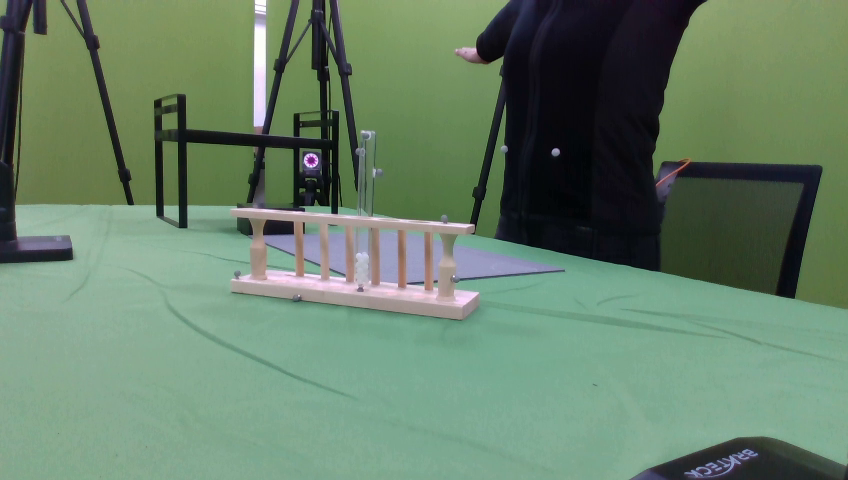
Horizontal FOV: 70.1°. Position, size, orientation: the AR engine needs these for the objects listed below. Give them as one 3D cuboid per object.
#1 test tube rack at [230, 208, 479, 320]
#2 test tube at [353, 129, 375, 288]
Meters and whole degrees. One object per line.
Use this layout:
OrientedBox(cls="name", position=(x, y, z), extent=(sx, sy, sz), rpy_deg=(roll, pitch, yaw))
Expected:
OrientedBox(cls="test tube rack", position=(-0.069, 0.017, 0.598), extent=(0.242, 0.085, 0.067), rpy_deg=(5, 8, 18))
OrientedBox(cls="test tube", position=(-0.057, -0.028, 0.570), extent=(0.017, 0.150, 0.017), rpy_deg=(3, 11, 0))
